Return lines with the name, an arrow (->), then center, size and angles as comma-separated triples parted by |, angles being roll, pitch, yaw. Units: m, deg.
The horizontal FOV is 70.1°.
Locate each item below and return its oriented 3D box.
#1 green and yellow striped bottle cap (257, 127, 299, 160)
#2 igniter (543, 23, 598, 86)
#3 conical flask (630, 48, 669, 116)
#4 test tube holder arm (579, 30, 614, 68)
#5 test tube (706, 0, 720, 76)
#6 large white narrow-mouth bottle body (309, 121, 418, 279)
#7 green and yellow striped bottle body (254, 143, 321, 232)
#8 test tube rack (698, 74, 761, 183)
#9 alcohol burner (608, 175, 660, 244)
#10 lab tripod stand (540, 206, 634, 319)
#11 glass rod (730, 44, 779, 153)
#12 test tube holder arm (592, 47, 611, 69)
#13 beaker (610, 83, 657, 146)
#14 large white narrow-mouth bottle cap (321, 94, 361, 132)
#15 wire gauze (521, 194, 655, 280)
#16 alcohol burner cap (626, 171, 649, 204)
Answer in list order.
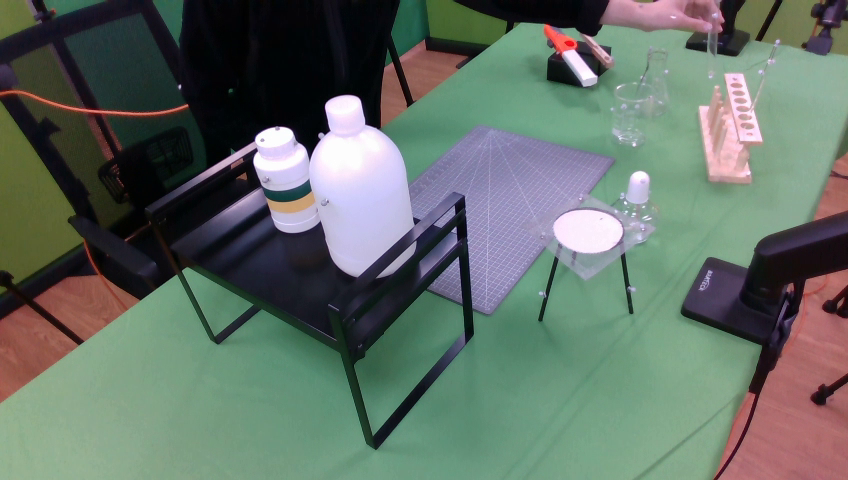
green and yellow striped bottle cap -> -0.169, -0.112, 0.699 | 0.045, 0.020, 0.045 | -5, 41, 5
igniter -> 0.320, -0.419, 1.345 | 0.057, 0.025, 0.274 | -12, 44, -3
conical flask -> 0.457, -0.317, 1.205 | 0.075, 0.122, 0.075 | -4, 41, 4
test tube holder arm -> 0.384, -0.428, 1.351 | 0.013, 0.015, 0.177 | -10, 41, -4
test tube -> 0.486, -0.345, 1.017 | 0.017, 0.151, 0.017 | -11, 42, 10
large white narrow-mouth bottle body -> -0.068, -0.057, 0.644 | 0.102, 0.195, 0.101 | -6, 40, 5
green and yellow striped bottle body -> -0.165, -0.073, 0.732 | 0.063, 0.120, 0.063 | -4, 41, 4
test tube rack -> 0.547, -0.208, 1.095 | 0.066, 0.085, 0.242 | 5, 42, 15
alcohol burner -> 0.322, -0.053, 0.924 | 0.078, 0.119, 0.077 | -4, 42, 4
lab tripod stand -> 0.217, 0.034, 0.821 | 0.148, 0.132, 0.147 | -4, 42, 4
glass rod -> 0.555, -0.234, 1.021 | 0.008, 0.200, 0.008 | 2, 40, -1
test tube holder arm -> 0.386, -0.398, 1.317 | 0.010, 0.015, 0.087 | -9, 41, -2
beaker -> 0.388, -0.235, 1.138 | 0.074, 0.101, 0.083 | -31, 45, -25
large white narrow-mouth bottle cap -> -0.081, -0.124, 0.589 | 0.037, 0.024, 0.037 | -6, 40, 5
wire gauze -> 0.207, -0.012, 0.772 | 0.122, 0.011, 0.124 | -28, 44, -20
alcohol burner cap -> 0.320, -0.081, 0.900 | 0.034, 0.048, 0.033 | -4, 42, 4
